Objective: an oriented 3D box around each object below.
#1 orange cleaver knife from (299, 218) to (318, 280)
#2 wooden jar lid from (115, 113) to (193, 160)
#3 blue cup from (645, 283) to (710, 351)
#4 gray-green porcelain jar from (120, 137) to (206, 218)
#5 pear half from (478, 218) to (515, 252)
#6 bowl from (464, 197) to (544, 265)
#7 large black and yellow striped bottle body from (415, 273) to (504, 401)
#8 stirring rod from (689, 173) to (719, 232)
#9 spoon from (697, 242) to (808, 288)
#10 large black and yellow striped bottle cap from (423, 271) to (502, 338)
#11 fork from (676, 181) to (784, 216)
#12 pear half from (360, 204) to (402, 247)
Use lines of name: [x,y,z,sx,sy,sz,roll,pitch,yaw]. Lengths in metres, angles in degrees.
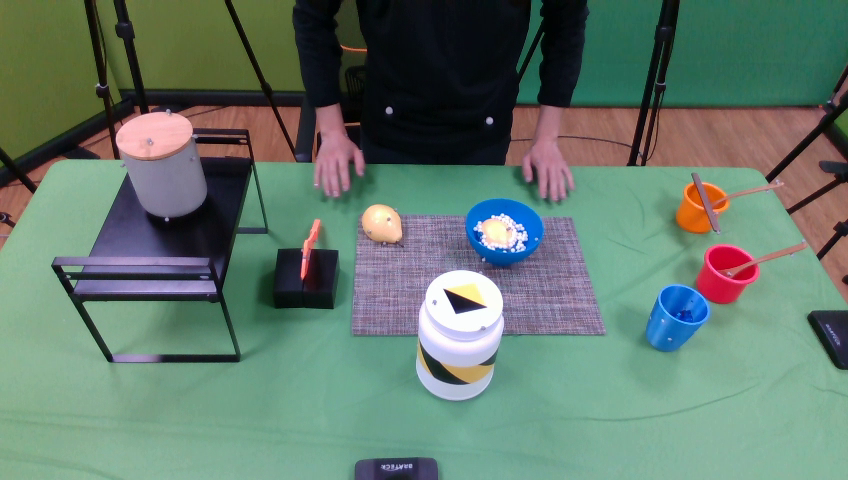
orange cleaver knife: [-0.214,0.013,1.125,0.012,0.077,0.210,6,17,-5]
wooden jar lid: [-0.399,-0.151,0.900,0.108,0.021,0.107,3,46,-3]
blue cup: [0.426,0.139,1.041,0.093,0.100,0.092,4,46,-4]
gray-green porcelain jar: [-0.403,-0.106,0.946,0.106,0.127,0.105,3,46,-2]
pear half: [0.144,-0.013,1.167,0.070,0.031,0.087,-21,55,-20]
bowl: [0.149,-0.004,1.167,0.151,0.077,0.150,2,46,-2]
large black and yellow striped bottle body: [0.054,0.150,0.943,0.131,0.185,0.130,2,46,-2]
stirring rod: [0.566,-0.079,1.225,0.014,0.006,0.175,2,45,2]
spoon: [0.601,0.045,1.116,0.194,0.022,0.041,-29,34,30]
large black and yellow striped bottle cap: [0.057,0.092,0.883,0.115,0.019,0.114,3,45,-3]
fork: [0.618,-0.084,1.235,0.207,0.019,0.028,-23,21,38]
pear half: [-0.077,-0.028,1.195,0.076,0.056,0.109,-36,61,-25]
